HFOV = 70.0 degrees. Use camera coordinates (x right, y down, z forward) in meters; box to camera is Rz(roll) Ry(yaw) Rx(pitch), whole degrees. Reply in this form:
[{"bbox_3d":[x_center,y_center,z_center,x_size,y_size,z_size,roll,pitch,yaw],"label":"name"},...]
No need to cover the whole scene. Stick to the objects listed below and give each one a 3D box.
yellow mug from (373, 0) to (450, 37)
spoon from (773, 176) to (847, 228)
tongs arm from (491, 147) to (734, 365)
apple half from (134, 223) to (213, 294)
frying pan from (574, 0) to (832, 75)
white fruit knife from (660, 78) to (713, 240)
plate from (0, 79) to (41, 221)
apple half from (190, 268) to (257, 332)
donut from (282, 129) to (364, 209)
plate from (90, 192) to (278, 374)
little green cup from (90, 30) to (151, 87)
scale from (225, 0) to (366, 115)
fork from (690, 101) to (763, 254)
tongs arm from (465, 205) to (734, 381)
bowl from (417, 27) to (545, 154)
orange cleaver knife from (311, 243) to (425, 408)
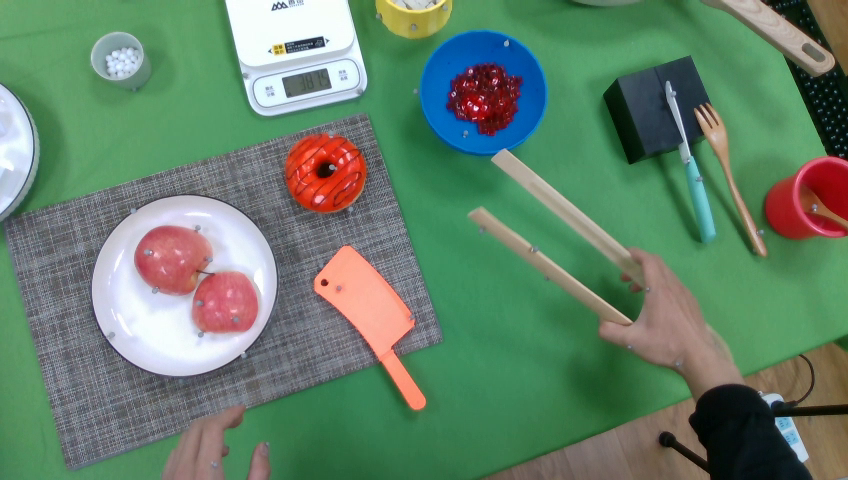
[{"bbox_3d":[-0.027,-0.325,0.757,0.130,0.064,0.100,39,82,3],"label":"yellow mug"},{"bbox_3d":[0.489,-0.020,0.708,0.041,0.022,0.191,-23,40,-7],"label":"spoon"},{"bbox_3d":[0.224,0.024,0.693,0.389,0.028,0.028,39,51,-14],"label":"tongs arm"},{"bbox_3d":[-0.290,0.017,0.689,0.074,0.053,0.080,32,80,5],"label":"apple half"},{"bbox_3d":[0.303,-0.365,0.764,0.485,0.103,0.306,44,83,11],"label":"frying pan"},{"bbox_3d":[0.319,-0.097,0.741,0.016,0.027,0.208,-20,98,-6],"label":"white fruit knife"},{"bbox_3d":[-0.552,-0.100,0.708,0.208,0.039,0.207,1,82,-3],"label":"plate"},{"bbox_3d":[-0.235,0.069,0.694,0.081,0.033,0.081,0,85,-1],"label":"apple half"},{"bbox_3d":[-0.121,-0.085,0.726,0.099,0.048,0.099,0,83,-2],"label":"donut"},{"bbox_3d":[-0.272,0.048,0.701,0.209,0.038,0.208,1,82,-3],"label":"plate"},{"bbox_3d":[-0.366,-0.217,0.736,0.061,0.039,0.061,0,82,-3],"label":"little green cup"},{"bbox_3d":[-0.165,-0.266,0.758,0.149,0.031,0.200,-14,84,-5],"label":"scale"},{"bbox_3d":[0.378,-0.075,0.749,0.028,0.018,0.208,-28,100,-9],"label":"fork"},{"bbox_3d":[0.206,0.061,0.668,0.387,0.026,0.050,36,55,-16],"label":"tongs arm"},{"bbox_3d":[0.065,-0.169,0.736,0.151,0.077,0.151,1,83,-3],"label":"bowl"},{"bbox_3d":[-0.052,0.098,0.716,0.077,0.012,0.211,-36,84,-14],"label":"orange cleaver knife"}]
